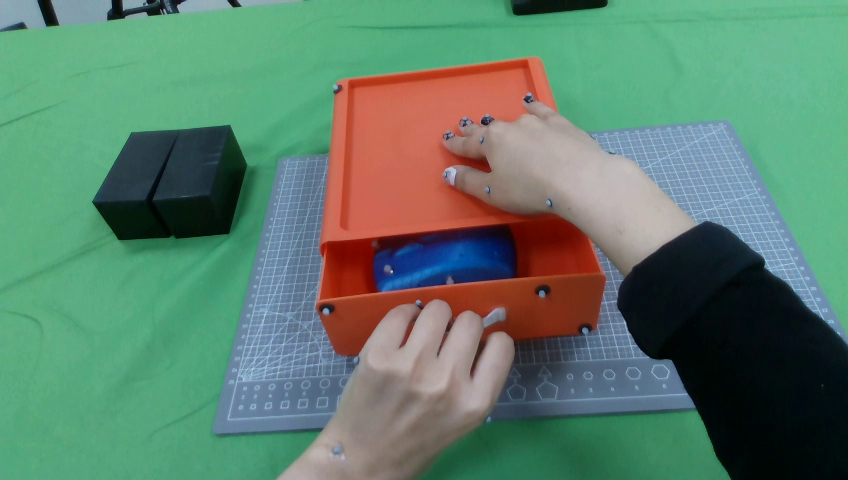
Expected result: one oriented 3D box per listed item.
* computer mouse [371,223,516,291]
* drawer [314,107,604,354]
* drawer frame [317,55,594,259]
[{"bbox_3d":[0.014,0.010,0.482,0.117,0.041,0.062,-8,49,7],"label":"computer mouse"},{"bbox_3d":[0.022,-0.019,0.488,0.194,0.074,0.209,-6,48,3],"label":"drawer"},{"bbox_3d":[0.019,-0.059,0.523,0.201,0.083,0.211,-7,47,2],"label":"drawer frame"}]
